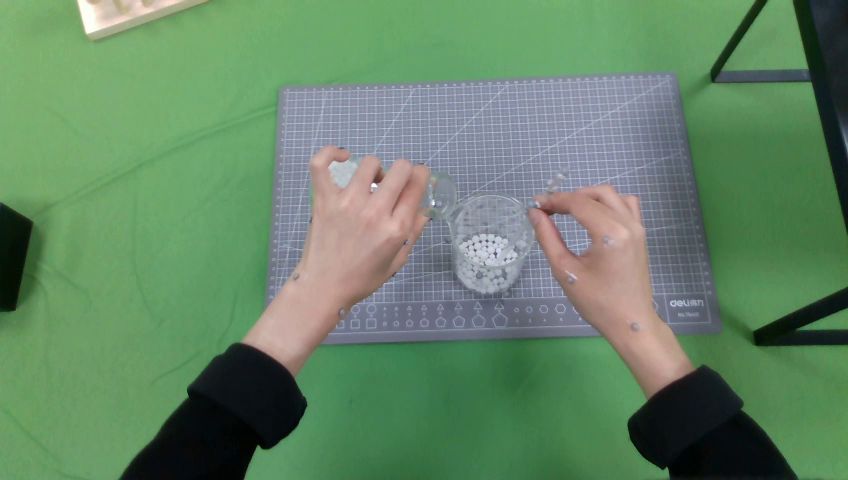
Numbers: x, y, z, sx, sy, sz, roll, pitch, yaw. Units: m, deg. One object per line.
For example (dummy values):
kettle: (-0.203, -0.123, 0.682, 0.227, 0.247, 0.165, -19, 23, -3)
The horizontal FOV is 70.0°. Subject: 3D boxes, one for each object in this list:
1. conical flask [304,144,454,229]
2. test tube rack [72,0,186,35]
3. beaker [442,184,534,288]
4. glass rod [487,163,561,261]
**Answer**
conical flask: (-0.035, -0.044, 0.511, 0.121, 0.076, 0.075, 5, 68, 34)
test tube rack: (-0.307, -0.332, 0.706, 0.242, 0.086, 0.066, -22, 72, -6)
beaker: (0.056, 0.000, 0.574, 0.084, 0.101, 0.073, 21, 72, 10)
glass rod: (0.078, -0.017, 0.510, 0.008, 0.200, 0.008, 3, 69, -7)
